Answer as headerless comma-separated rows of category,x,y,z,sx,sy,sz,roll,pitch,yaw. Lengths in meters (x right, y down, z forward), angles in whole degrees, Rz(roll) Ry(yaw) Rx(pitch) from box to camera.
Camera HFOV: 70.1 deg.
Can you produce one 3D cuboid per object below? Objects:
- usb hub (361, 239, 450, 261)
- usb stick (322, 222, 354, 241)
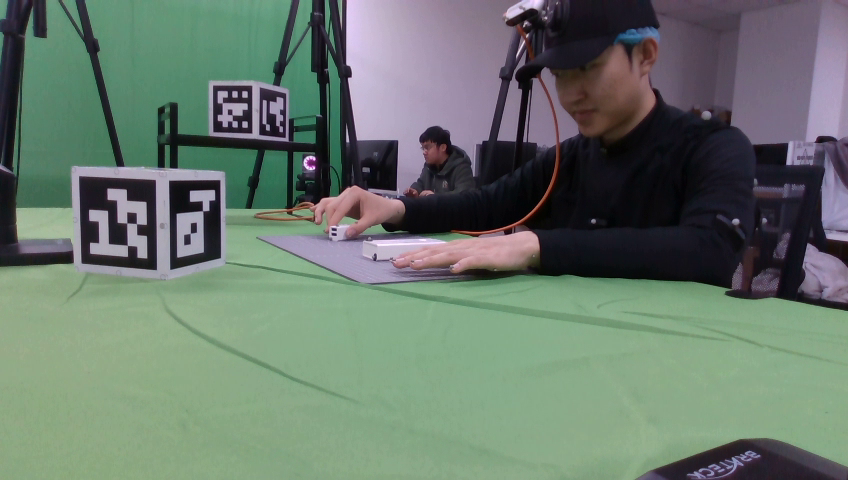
usb hub,-0.026,0.014,0.894,0.126,0.025,0.049,-1,8,-32
usb stick,-0.152,-0.015,1.059,0.021,0.027,0.059,-28,-13,38
